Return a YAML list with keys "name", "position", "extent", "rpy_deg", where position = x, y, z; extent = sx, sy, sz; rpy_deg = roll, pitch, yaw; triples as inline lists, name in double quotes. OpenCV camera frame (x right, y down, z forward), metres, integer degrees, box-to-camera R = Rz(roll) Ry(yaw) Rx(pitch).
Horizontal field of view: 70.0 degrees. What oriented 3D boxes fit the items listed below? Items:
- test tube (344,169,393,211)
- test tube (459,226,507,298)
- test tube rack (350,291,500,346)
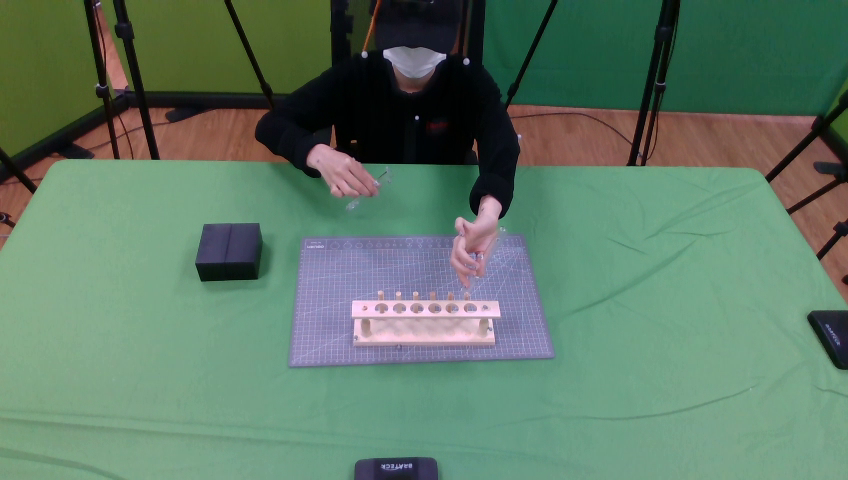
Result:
- name: "test tube"
  position: [-0.109, -0.092, 1.157]
  extent: [0.017, 0.150, 0.017]
  rpy_deg: [23, 51, -32]
- name: "test tube"
  position: [0.094, 0.036, 0.971]
  extent: [0.017, 0.151, 0.017]
  rpy_deg: [19, 33, -13]
- name: "test tube rack"
  position: [0.000, 0.129, 1.026]
  extent: [0.242, 0.085, 0.066]
  rpy_deg: [1, 46, -4]
